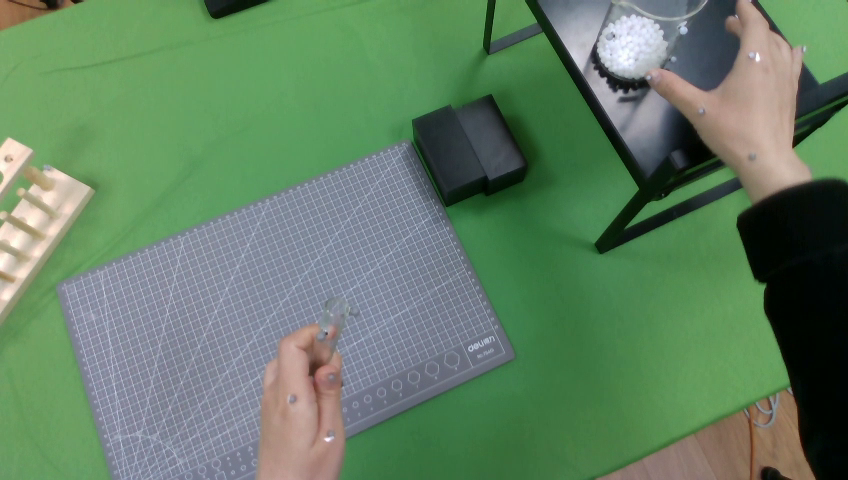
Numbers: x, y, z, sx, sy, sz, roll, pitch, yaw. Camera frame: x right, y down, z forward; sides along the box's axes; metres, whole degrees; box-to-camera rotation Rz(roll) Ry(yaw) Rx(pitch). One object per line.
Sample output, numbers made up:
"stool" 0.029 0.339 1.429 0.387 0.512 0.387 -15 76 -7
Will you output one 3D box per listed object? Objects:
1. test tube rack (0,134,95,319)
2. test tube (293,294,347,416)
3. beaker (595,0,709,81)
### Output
"test tube rack" -0.487 0.011 0.675 0.066 0.085 0.241 27 76 8
"test tube" -0.076 0.087 0.429 0.017 0.151 0.017 11 46 -12
"beaker" 0.195 -0.195 0.537 0.084 0.101 0.073 -17 73 -4
